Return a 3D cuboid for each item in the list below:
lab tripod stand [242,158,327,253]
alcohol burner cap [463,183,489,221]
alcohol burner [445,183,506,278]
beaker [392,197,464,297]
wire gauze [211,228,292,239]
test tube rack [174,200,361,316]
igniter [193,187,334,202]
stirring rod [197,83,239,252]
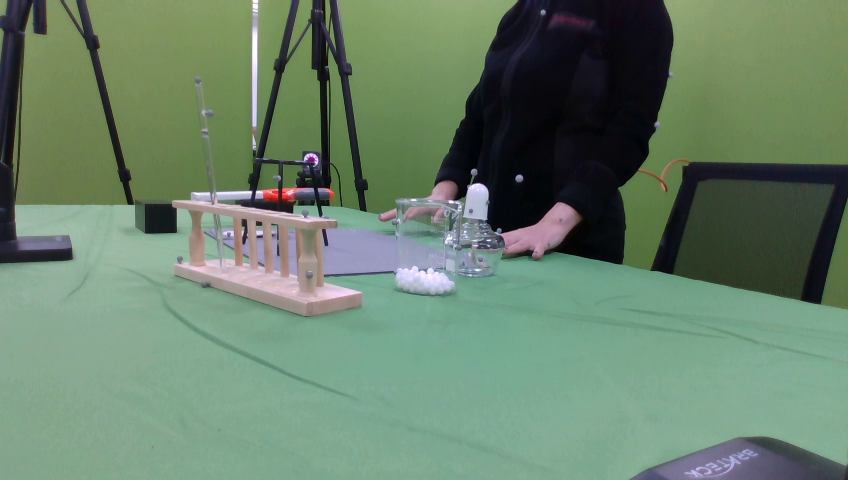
[{"bbox_3d":[-0.207,-0.054,0.895,0.148,0.131,0.148,2,5,0],"label":"lab tripod stand"},{"bbox_3d":[0.067,-0.049,0.765,0.034,0.048,0.034,5,5,0],"label":"alcohol burner cap"},{"bbox_3d":[0.066,-0.013,0.771,0.078,0.119,0.078,0,7,0],"label":"alcohol burner"},{"bbox_3d":[0.005,0.007,0.647,0.074,0.100,0.083,-5,11,-44],"label":"beaker"},{"bbox_3d":[-0.298,-0.013,1.039,0.122,0.011,0.124,-2,6,-27],"label":"wire gauze"},{"bbox_3d":[-0.169,0.009,0.622,0.241,0.085,0.067,9,9,41],"label":"test tube rack"},{"bbox_3d":[-0.316,-0.090,1.213,0.278,0.025,0.057,-5,13,-31],"label":"igniter"},{"bbox_3d":[-0.212,-0.072,0.625,0.006,0.176,0.014,-14,12,-22],"label":"stirring rod"}]
